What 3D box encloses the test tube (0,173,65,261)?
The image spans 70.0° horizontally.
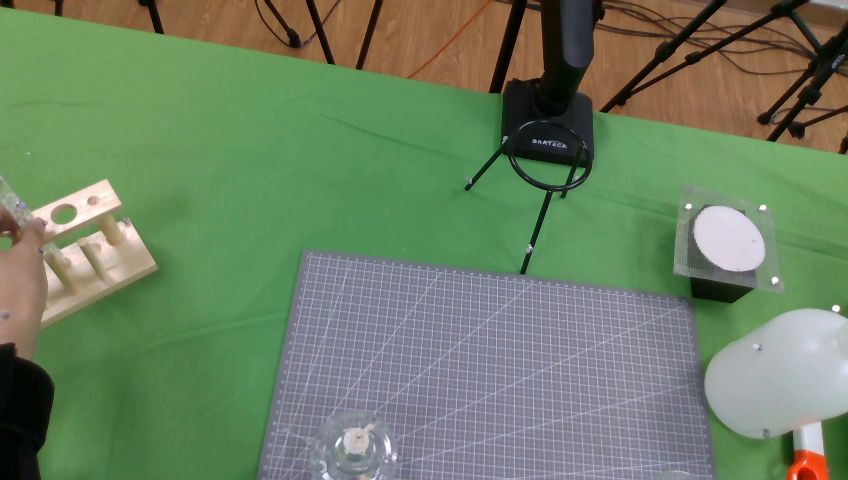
[{"bbox_3d":[-0.356,-0.018,0.543,0.017,0.151,0.017,4,61,-7],"label":"test tube"}]

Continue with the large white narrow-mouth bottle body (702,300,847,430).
[{"bbox_3d":[0.358,0.114,0.580,0.102,0.196,0.101,3,61,-6],"label":"large white narrow-mouth bottle body"}]

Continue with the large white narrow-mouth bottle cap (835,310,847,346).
[{"bbox_3d":[0.368,0.073,0.507,0.038,0.024,0.037,4,62,-6],"label":"large white narrow-mouth bottle cap"}]

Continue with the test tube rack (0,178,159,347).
[{"bbox_3d":[-0.388,0.041,0.565,0.242,0.086,0.066,-31,71,-22],"label":"test tube rack"}]

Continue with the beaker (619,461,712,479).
[{"bbox_3d":[0.204,0.243,0.540,0.084,0.101,0.073,4,61,-5],"label":"beaker"}]

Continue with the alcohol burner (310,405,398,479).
[{"bbox_3d":[-0.059,0.178,0.525,0.078,0.120,0.077,5,61,-8],"label":"alcohol burner"}]

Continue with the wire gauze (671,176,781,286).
[{"bbox_3d":[0.344,-0.010,0.694,0.121,0.011,0.124,14,61,-1],"label":"wire gauze"}]

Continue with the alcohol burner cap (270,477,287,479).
[{"bbox_3d":[-0.127,0.225,0.531,0.034,0.048,0.033,3,61,-5],"label":"alcohol burner cap"}]

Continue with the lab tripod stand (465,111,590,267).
[{"bbox_3d":[0.121,-0.062,0.672,0.149,0.132,0.147,4,63,-8],"label":"lab tripod stand"}]

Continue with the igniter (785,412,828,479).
[{"bbox_3d":[0.395,0.222,0.624,0.057,0.025,0.274,21,61,-12],"label":"igniter"}]
